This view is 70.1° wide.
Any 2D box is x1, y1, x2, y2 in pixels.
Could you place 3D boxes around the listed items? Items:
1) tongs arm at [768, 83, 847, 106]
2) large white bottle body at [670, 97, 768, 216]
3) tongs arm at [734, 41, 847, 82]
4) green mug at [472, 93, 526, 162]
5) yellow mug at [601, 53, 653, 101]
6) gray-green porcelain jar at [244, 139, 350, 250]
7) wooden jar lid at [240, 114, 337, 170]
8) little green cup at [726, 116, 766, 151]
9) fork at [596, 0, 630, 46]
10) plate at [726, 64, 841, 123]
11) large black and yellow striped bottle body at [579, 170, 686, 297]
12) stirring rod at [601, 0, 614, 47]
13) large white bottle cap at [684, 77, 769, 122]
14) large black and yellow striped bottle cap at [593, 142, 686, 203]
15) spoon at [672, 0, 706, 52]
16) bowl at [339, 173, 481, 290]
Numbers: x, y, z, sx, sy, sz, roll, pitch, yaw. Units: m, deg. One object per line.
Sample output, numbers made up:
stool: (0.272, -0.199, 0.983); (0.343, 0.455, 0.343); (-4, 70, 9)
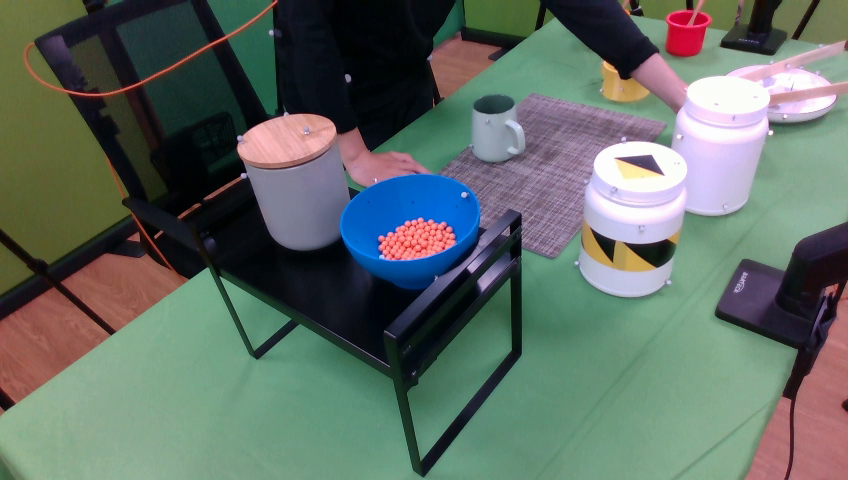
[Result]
tongs arm: (0.738, -0.281, 1.134); (0.388, 0.028, 0.028); (-9, 47, -5)
large white bottle body: (0.458, -0.146, 0.952); (0.130, 0.185, 0.130); (-4, 40, 4)
tongs arm: (0.712, -0.332, 1.194); (0.386, 0.026, 0.050); (-18, 45, -16)
green mug: (0.144, -0.202, 1.122); (0.093, 0.105, 0.124); (-29, 45, -23)
yellow mug: (0.423, -0.354, 1.292); (0.100, 0.064, 0.129); (-23, 41, -16)
gray-green porcelain jar: (-0.144, -0.060, 0.714); (0.106, 0.127, 0.105); (-4, 41, 4)
wooden jar lid: (-0.149, -0.106, 0.674); (0.108, 0.021, 0.108); (-6, 39, 5)
little green cup: (0.558, -0.185, 1.054); (0.061, 0.039, 0.061); (-6, 40, 5)
fork: (0.481, -0.556, 1.452); (0.028, 0.019, 0.207); (40, 103, 38)
plate: (0.695, -0.282, 1.189); (0.207, 0.039, 0.206); (-4, 40, 4)
large black and yellow striped bottle body: (0.287, -0.027, 0.841); (0.131, 0.185, 0.130); (-4, 41, 4)
stirring rod: (0.439, -0.552, 1.463); (0.014, 0.006, 0.175); (-7, 83, 2)
large white bottle cap: (0.448, -0.209, 0.898); (0.115, 0.018, 0.114); (-4, 40, 4)
large black and yellow striped bottle cap: (0.280, -0.090, 0.786); (0.115, 0.019, 0.114); (-5, 41, 5)
spoon: (0.629, -0.520, 1.394); (0.041, 0.022, 0.193); (29, 97, 34)
bowl: (-0.011, 0.001, 0.660); (0.151, 0.077, 0.150); (-5, 41, 5)
